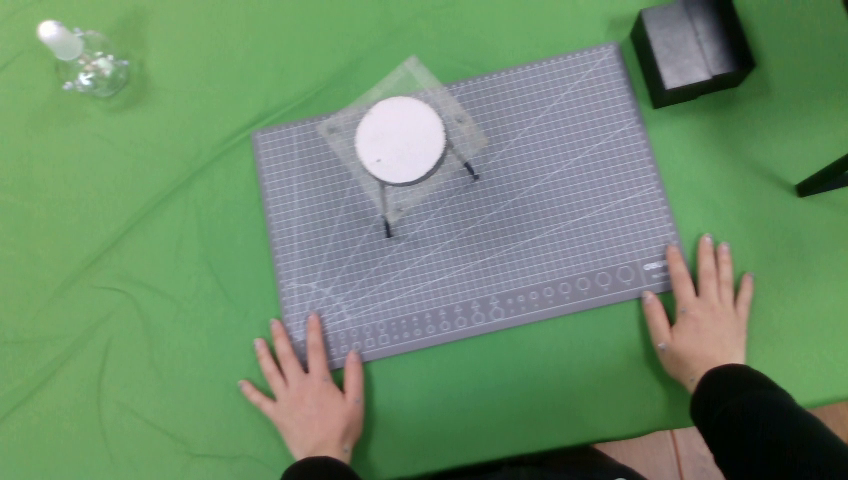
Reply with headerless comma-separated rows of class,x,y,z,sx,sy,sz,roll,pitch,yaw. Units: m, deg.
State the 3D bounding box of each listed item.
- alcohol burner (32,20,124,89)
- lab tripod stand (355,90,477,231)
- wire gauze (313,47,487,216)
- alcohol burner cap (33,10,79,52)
alcohol burner,-0.406,-0.225,0.703,0.078,0.119,0.077,-1,80,4
lab tripod stand,-0.020,-0.090,0.637,0.148,0.132,0.147,-1,79,6
wire gauze,-0.023,-0.106,0.572,0.121,0.011,0.124,-38,78,-3
alcohol burner cap,-0.409,-0.233,0.668,0.034,0.048,0.033,0,80,-2
